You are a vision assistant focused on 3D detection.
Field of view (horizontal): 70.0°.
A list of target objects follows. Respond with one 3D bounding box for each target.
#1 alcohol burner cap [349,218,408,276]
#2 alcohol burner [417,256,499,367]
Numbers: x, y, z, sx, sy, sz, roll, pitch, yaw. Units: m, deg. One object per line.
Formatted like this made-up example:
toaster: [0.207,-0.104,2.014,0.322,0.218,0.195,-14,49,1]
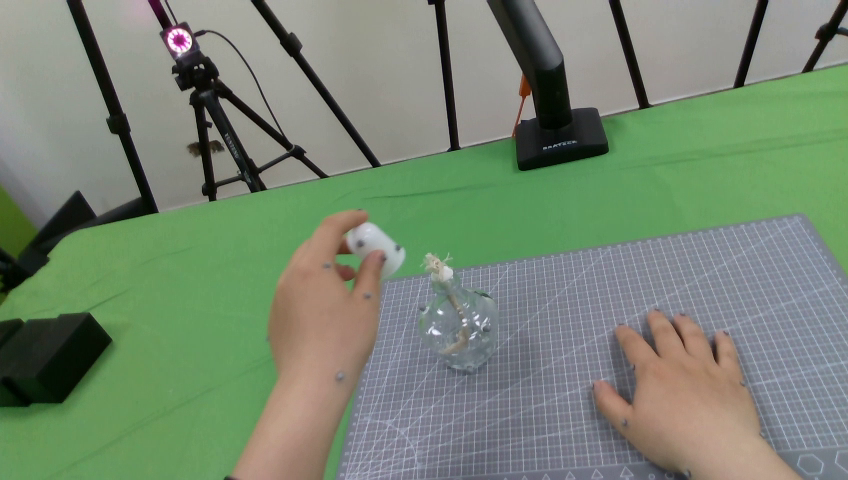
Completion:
alcohol burner cap: [-0.038,0.002,0.477,0.034,0.048,0.033,-23,41,22]
alcohol burner: [0.027,0.060,0.553,0.078,0.120,0.077,-11,37,9]
